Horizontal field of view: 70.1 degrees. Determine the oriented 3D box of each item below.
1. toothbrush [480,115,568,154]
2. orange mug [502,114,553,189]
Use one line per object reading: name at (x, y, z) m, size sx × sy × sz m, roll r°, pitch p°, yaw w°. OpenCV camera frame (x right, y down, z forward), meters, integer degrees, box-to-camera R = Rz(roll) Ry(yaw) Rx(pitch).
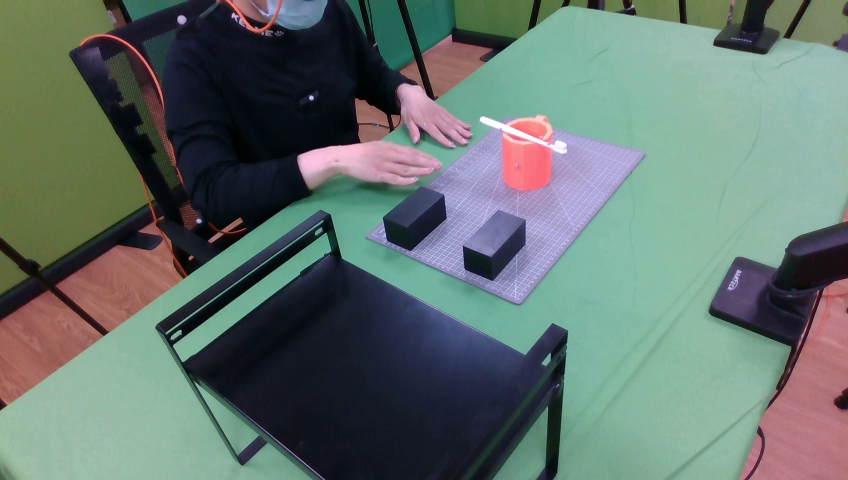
toothbrush at (0.165, -0.181, 1.014) m, size 0.180 × 0.017 × 0.014 m, roll 30°, pitch 58°, yaw 35°
orange mug at (0.190, -0.164, 1.071) m, size 0.083 × 0.101 × 0.126 m, roll 16°, pitch 50°, yaw 25°
